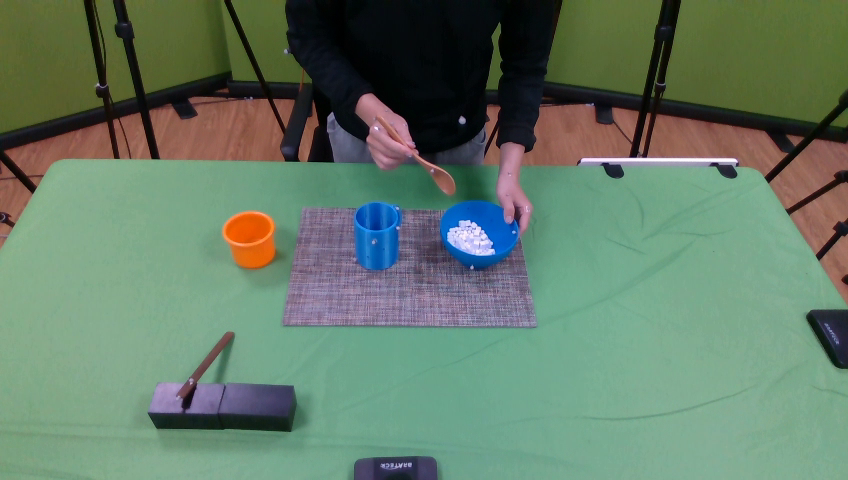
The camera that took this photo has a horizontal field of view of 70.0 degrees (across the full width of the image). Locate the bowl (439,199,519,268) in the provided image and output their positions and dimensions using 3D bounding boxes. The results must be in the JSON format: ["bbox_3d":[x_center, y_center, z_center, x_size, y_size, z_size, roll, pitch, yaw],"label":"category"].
[{"bbox_3d":[0.100,0.001,1.160,0.151,0.077,0.150,2,46,-2],"label":"bowl"}]

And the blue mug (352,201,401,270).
[{"bbox_3d":[-0.082,-0.017,1.144,0.082,0.106,0.116,30,51,22],"label":"blue mug"}]

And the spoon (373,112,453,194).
[{"bbox_3d":[-0.019,-0.152,1.062,0.194,0.041,0.021,41,58,-15],"label":"spoon"}]

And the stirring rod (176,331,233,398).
[{"bbox_3d":[-0.342,0.192,0.955,0.014,0.006,0.175,4,24,6],"label":"stirring rod"}]
